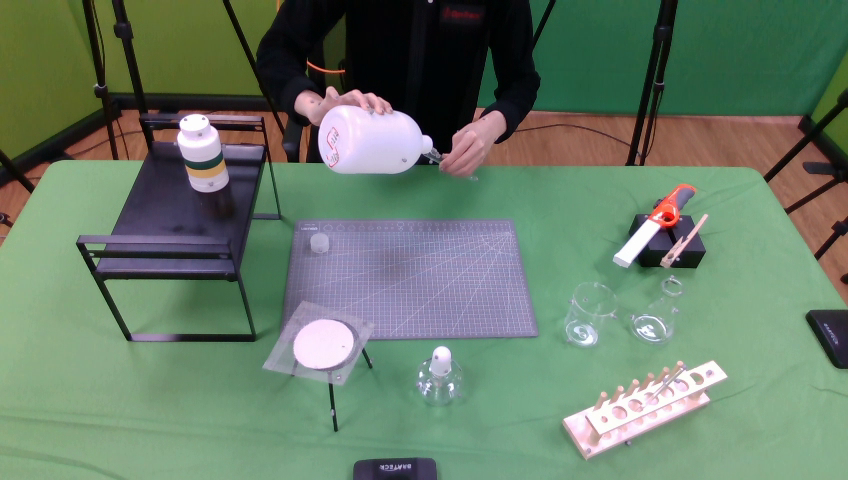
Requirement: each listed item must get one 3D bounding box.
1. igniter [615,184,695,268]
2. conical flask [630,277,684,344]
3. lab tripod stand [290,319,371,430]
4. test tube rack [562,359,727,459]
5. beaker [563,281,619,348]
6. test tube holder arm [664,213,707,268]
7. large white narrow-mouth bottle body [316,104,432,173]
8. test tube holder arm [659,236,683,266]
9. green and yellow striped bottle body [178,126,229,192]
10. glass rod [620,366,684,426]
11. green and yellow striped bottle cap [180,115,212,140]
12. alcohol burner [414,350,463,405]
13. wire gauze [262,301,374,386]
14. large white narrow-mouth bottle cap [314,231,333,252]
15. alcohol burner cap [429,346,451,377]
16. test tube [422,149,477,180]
[{"bbox_3d":[0.459,-0.035,1.197,0.057,0.025,0.276,33,55,27],"label":"igniter"},{"bbox_3d":[0.409,0.117,1.045,0.075,0.122,0.075,2,46,-2],"label":"conical flask"},{"bbox_3d":[-0.146,0.194,0.923,0.148,0.132,0.147,1,47,-1],"label":"lab tripod stand"},{"bbox_3d":[0.341,0.247,0.940,0.243,0.085,0.066,-16,49,-18],"label":"test tube rack"},{"bbox_3d":[0.283,0.129,1.041,0.074,0.101,0.083,11,46,6],"label":"beaker"},{"bbox_3d":[0.507,-0.001,1.171,0.013,0.015,0.178,34,54,26],"label":"test tube holder arm"},{"bbox_3d":[-0.066,-0.158,0.967,0.195,0.102,0.101,-5,42,-42],"label":"large white narrow-mouth bottle body"},{"bbox_3d":[0.472,0.020,1.149,0.010,0.015,0.088,35,54,27],"label":"test tube holder arm"},{"bbox_3d":[-0.361,-0.142,0.989,0.063,0.120,0.063,2,46,-2],"label":"green and yellow striped bottle body"},{"bbox_3d":[0.323,0.227,0.866,0.008,0.200,0.008,5,51,-6],"label":"glass rod"},{"bbox_3d":[-0.358,-0.177,0.951,0.045,0.020,0.045,2,45,-2],"label":"green and yellow striped bottle cap"},{"bbox_3d":[0.023,0.205,0.939,0.078,0.120,0.077,1,48,-1],"label":"alcohol burner"},{"bbox_3d":[-0.150,0.148,0.873,0.121,0.011,0.124,14,46,12],"label":"wire gauze"},{"bbox_3d":[-0.195,0.003,1.178,0.038,0.024,0.037,2,45,-2],"label":"large white narrow-mouth bottle cap"},{"bbox_3d":[0.026,0.180,0.912,0.034,0.048,0.033,1,47,-1],"label":"alcohol burner cap"},{"bbox_3d":[0.049,-0.136,1.090,0.151,0.017,0.017,20,28,-48],"label":"test tube"}]
